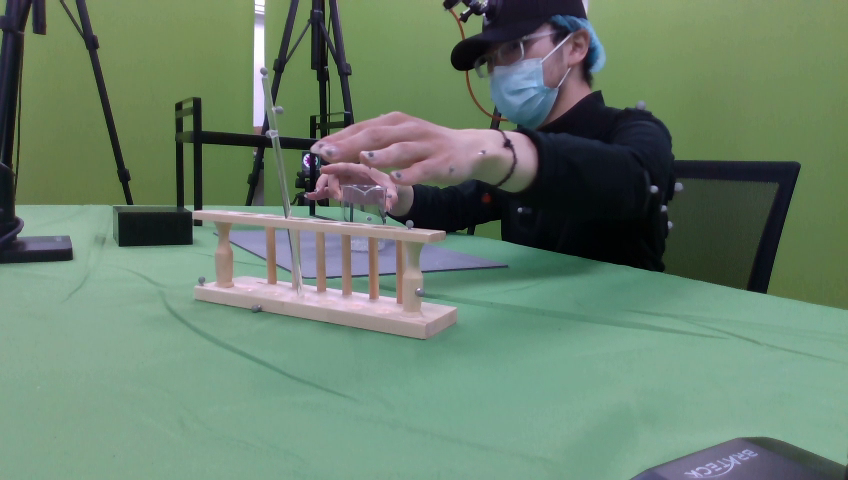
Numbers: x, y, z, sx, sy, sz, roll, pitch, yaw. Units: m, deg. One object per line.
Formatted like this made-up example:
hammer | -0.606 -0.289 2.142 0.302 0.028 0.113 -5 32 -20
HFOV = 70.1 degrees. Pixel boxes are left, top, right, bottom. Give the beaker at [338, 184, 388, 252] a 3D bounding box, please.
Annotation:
beaker | -0.093 -0.034 0.919 0.074 0.100 0.084 1 8 -8

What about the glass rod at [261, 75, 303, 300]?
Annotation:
glass rod | -0.124 -0.043 0.532 0.008 0.199 0.008 -7 8 1

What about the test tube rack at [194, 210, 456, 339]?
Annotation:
test tube rack | -0.093 0.023 0.546 0.241 0.085 0.067 6 8 25
